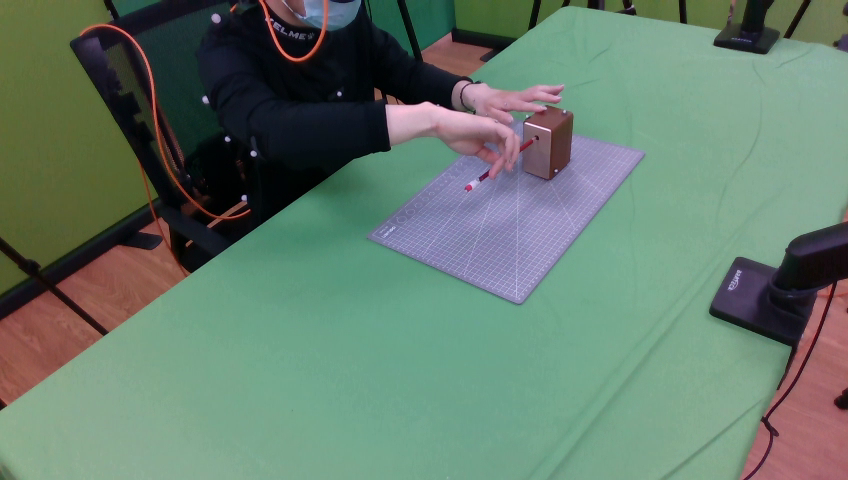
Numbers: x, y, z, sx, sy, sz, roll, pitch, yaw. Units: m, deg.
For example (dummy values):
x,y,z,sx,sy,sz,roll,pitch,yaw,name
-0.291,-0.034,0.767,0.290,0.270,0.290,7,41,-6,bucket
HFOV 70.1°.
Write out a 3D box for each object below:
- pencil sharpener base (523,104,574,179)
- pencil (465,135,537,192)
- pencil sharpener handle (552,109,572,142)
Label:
x,y,z,sx,sy,sz,roll,pitch,yaw,name
0.221,-0.175,1.071,0.061,0.107,0.077,26,50,33,pencil sharpener base
0.130,-0.129,0.986,0.012,0.012,0.195,27,50,33,pencil
0.253,-0.211,1.090,0.035,0.068,0.031,22,48,36,pencil sharpener handle
